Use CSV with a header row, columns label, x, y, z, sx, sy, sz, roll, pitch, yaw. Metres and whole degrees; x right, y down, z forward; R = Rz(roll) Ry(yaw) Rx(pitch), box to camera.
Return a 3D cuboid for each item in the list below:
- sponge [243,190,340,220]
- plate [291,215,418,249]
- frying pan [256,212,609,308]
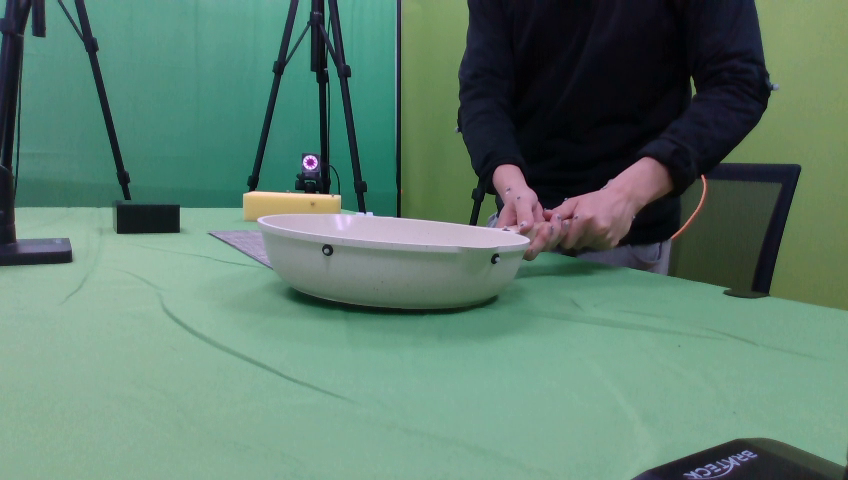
label,x,y,z,sx,sy,sz,roll,pitch,yaw
sponge,-0.298,-0.077,1.388,0.207,0.061,0.118,2,8,-7
plate,-0.115,-0.013,1.002,0.208,0.039,0.207,2,7,0
frying pan,0.053,-0.001,0.717,0.490,0.102,0.305,-9,13,-32
